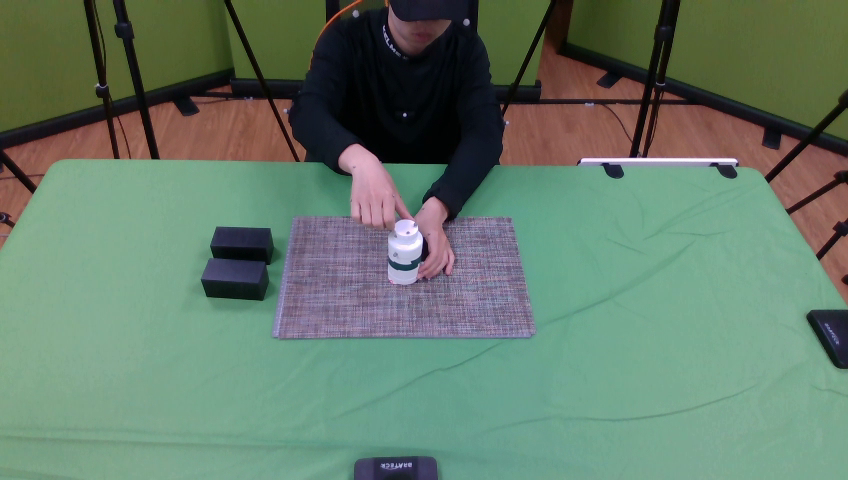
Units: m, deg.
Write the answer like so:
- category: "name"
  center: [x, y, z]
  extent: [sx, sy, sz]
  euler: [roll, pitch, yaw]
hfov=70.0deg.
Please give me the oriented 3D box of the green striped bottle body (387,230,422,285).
- category: "green striped bottle body"
  center: [-0.035, 0.021, 1.102]
  extent: [0.063, 0.120, 0.063]
  euler: [2, 46, -2]

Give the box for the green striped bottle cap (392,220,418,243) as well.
- category: "green striped bottle cap"
  center: [-0.033, -0.016, 1.063]
  extent: [0.044, 0.020, 0.044]
  euler: [1, 41, -1]
